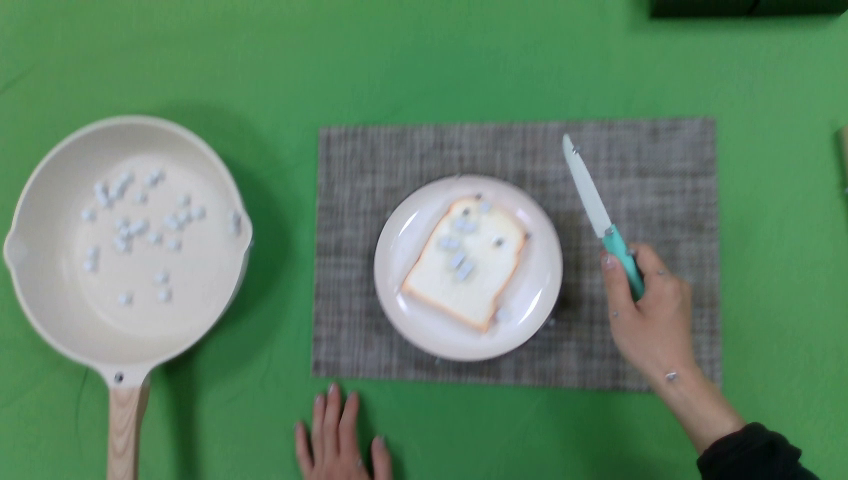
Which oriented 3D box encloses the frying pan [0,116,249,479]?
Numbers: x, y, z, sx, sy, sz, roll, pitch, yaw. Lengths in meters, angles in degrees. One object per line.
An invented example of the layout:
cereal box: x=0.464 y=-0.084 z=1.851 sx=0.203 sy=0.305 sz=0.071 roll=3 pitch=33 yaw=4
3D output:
frying pan: x=-0.335 y=0.105 z=0.690 sx=0.306 sy=0.103 sz=0.485 roll=-4 pitch=77 yaw=9

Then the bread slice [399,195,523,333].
bread slice: x=0.045 y=0.019 z=0.671 sx=0.106 sy=0.018 sz=0.134 roll=24 pitch=90 yaw=8

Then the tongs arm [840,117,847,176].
tongs arm: x=0.470 y=0.062 z=0.611 sx=0.028 sy=0.028 sz=0.386 roll=-9 pitch=84 yaw=5

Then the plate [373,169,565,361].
plate: x=0.049 y=0.027 z=0.669 sx=0.207 sy=0.039 sz=0.207 roll=-1 pitch=85 yaw=9

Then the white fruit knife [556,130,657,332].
white fruit knife: x=0.169 y=-0.007 z=0.565 sx=0.016 sy=0.027 sz=0.207 roll=-30 pitch=96 yaw=-32
